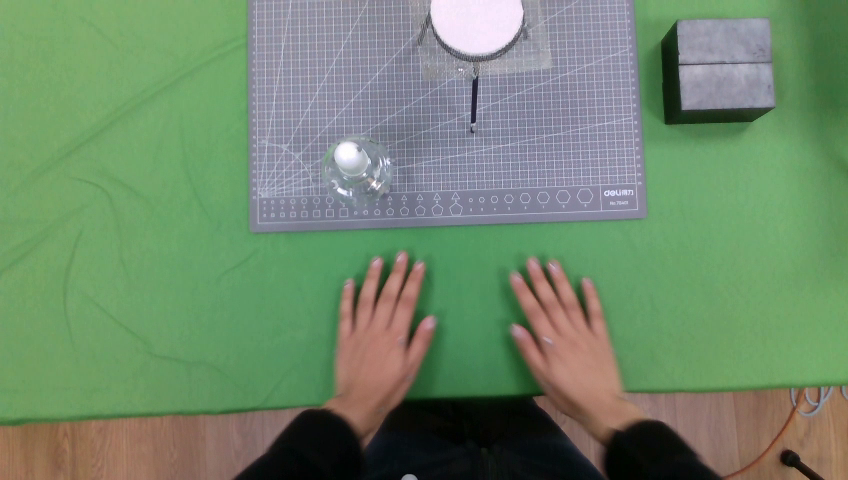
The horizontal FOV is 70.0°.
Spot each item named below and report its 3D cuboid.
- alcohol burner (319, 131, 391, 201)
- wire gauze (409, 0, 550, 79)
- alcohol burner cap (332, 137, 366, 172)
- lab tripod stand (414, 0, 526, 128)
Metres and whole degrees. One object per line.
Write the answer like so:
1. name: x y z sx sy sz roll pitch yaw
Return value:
1. alcohol burner: -0.075 -0.082 0.637 0.078 0.119 0.077 0 83 0
2. wire gauze: 0.049 -0.215 0.570 0.125 0.011 0.121 -8 84 0
3. alcohol burner cap: -0.077 -0.087 0.602 0.034 0.048 0.034 0 87 -1
4. lab tripod stand: 0.053 -0.210 0.637 0.148 0.132 0.148 0 82 1
